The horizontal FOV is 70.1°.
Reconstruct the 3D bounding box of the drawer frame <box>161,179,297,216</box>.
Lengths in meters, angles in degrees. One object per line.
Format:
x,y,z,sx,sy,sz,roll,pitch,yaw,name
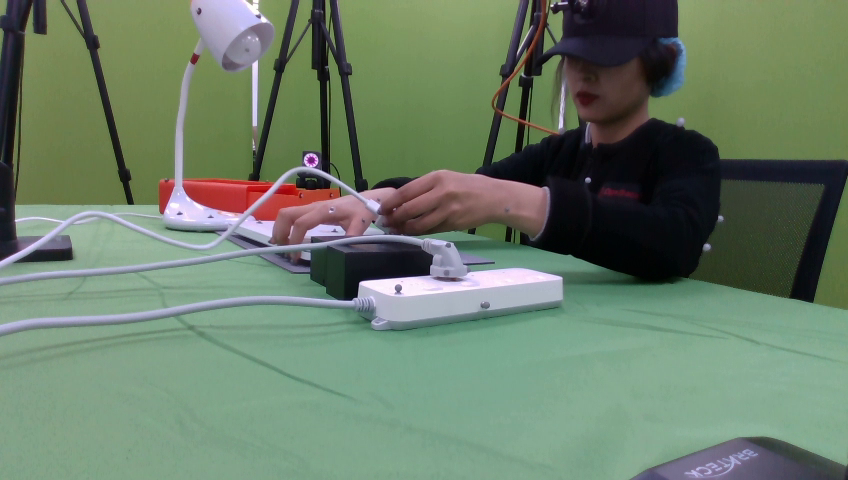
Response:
-0.421,-0.089,1.330,0.213,0.082,0.202,4,8,16,drawer frame

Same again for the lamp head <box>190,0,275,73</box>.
-0.331,-0.355,1.008,0.123,0.112,0.112,43,15,6,lamp head

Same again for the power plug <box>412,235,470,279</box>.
0.017,0.023,0.588,0.035,0.052,0.072,-1,8,-23,power plug

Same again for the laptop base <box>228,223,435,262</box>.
-0.142,0.002,0.947,0.237,0.023,0.352,1,6,-34,laptop base

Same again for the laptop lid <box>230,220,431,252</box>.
-0.140,-0.010,0.947,0.243,0.013,0.355,0,7,-32,laptop lid

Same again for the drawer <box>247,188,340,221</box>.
-0.314,-0.079,1.301,0.211,0.073,0.195,4,8,15,drawer

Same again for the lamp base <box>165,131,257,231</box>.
-0.407,-0.112,1.119,0.179,0.180,0.161,-1,7,7,lamp base

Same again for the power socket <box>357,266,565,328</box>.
0.041,0.049,0.572,0.228,0.032,0.072,-3,8,-35,power socket

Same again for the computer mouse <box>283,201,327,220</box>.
-0.254,-0.062,1.293,0.063,0.041,0.117,0,2,10,computer mouse

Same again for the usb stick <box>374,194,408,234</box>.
-0.043,-0.029,0.741,0.027,0.059,0.021,32,51,-3,usb stick

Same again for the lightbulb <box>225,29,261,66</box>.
-0.317,-0.336,1.001,0.107,0.059,0.059,46,15,5,lightbulb
